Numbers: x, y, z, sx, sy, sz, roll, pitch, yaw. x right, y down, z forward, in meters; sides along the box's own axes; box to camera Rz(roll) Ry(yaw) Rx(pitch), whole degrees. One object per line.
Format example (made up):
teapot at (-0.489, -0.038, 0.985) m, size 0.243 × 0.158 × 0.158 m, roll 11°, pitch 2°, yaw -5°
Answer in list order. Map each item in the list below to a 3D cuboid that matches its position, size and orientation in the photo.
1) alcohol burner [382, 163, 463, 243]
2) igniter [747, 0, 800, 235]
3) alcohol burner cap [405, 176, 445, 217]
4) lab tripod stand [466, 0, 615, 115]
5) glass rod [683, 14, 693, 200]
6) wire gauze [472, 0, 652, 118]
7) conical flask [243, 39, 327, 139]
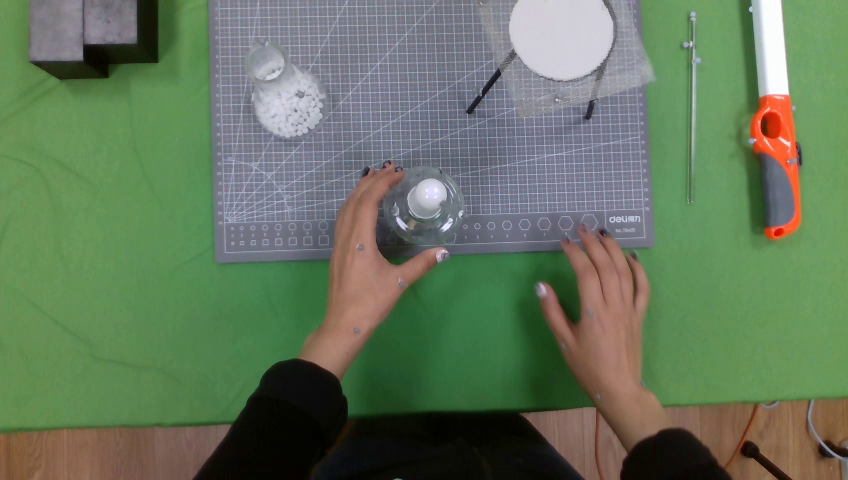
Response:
alcohol burner at (-0.001, -0.037, 0.567) m, size 0.078 × 0.119 × 0.078 m, roll 0°, pitch 86°, yaw -4°
igniter at (0.364, -0.143, 0.636) m, size 0.057 × 0.025 × 0.276 m, roll -2°, pitch 87°, yaw -13°
alcohol burner cap at (0.003, -0.041, 0.531) m, size 0.034 × 0.048 × 0.034 m, roll 1°, pitch 83°, yaw -11°
lab tripod stand at (0.111, -0.172, 0.569) m, size 0.148 × 0.131 × 0.148 m, roll 0°, pitch 89°, yaw -2°
glass rod at (0.279, -0.142, 0.641) m, size 0.008 × 0.008 × 0.199 m, roll 2°, pitch 87°, yaw -3°
wire gauze at (0.114, -0.173, 0.502) m, size 0.125 × 0.011 × 0.121 m, roll -19°, pitch 88°, yaw -3°
conical flask at (-0.134, -0.143, 0.561) m, size 0.075 × 0.122 × 0.075 m, roll 0°, pitch 87°, yaw -2°
